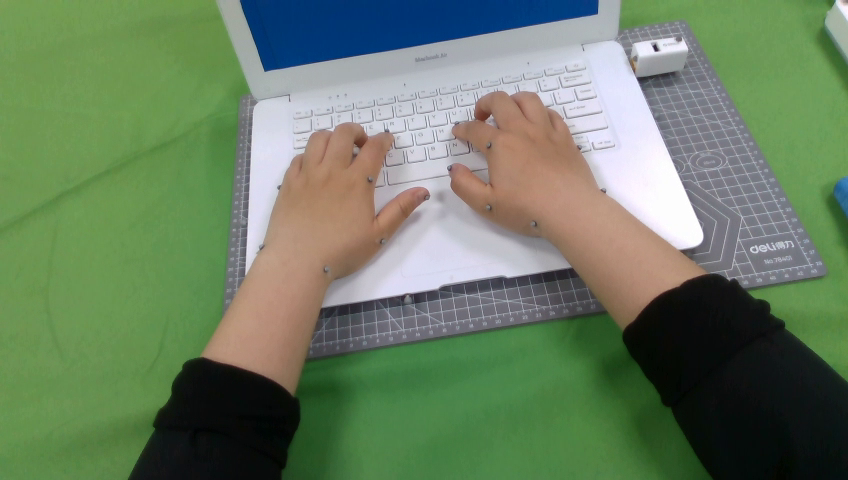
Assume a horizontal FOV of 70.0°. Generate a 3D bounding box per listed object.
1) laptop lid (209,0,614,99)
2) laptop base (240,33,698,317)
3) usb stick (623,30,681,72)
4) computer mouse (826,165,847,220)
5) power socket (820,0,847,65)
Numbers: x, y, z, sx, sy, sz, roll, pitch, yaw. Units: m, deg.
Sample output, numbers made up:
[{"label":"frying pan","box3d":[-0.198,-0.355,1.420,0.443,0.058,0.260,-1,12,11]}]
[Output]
[{"label":"laptop lid","box3d":[-0.013,-0.246,0.502,0.357,0.244,0.013,-11,44,2]},{"label":"laptop base","box3d":[0.020,-0.065,0.520,0.354,0.023,0.233,-10,60,1]},{"label":"usb stick","box3d":[0.198,-0.170,0.548,0.059,0.027,0.021,-10,57,5]},{"label":"computer mouse","box3d":[0.345,-0.016,0.431,0.063,0.041,0.116,-10,51,4]},{"label":"power socket","box3d":[0.410,-0.142,0.507,0.072,0.033,0.224,-6,57,4]}]
